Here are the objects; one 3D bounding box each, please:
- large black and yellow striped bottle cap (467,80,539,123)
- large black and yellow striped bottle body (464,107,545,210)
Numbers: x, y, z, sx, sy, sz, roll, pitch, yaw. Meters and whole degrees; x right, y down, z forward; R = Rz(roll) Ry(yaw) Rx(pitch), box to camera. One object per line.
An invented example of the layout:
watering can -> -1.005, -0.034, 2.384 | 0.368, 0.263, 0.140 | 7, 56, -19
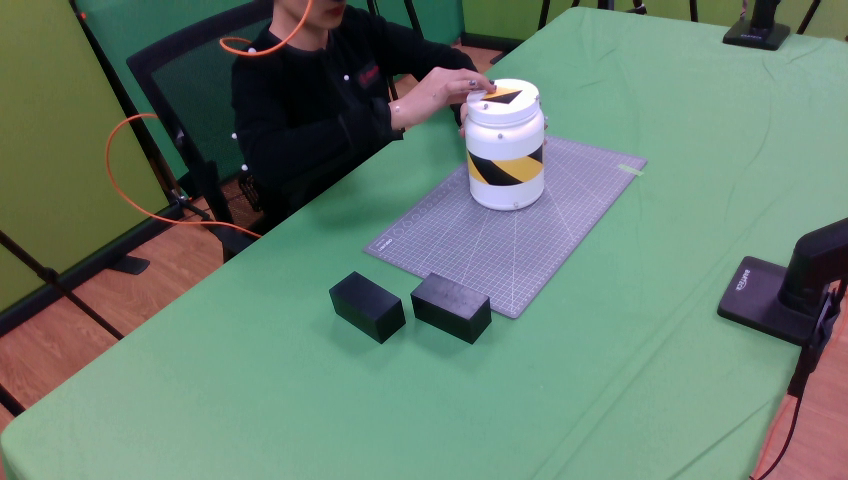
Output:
large black and yellow striped bottle cap -> 0.124, -0.221, 0.957 | 0.115, 0.019, 0.114 | -5, 39, 5
large black and yellow striped bottle body -> 0.136, -0.157, 1.011 | 0.131, 0.185, 0.130 | -5, 40, 5
